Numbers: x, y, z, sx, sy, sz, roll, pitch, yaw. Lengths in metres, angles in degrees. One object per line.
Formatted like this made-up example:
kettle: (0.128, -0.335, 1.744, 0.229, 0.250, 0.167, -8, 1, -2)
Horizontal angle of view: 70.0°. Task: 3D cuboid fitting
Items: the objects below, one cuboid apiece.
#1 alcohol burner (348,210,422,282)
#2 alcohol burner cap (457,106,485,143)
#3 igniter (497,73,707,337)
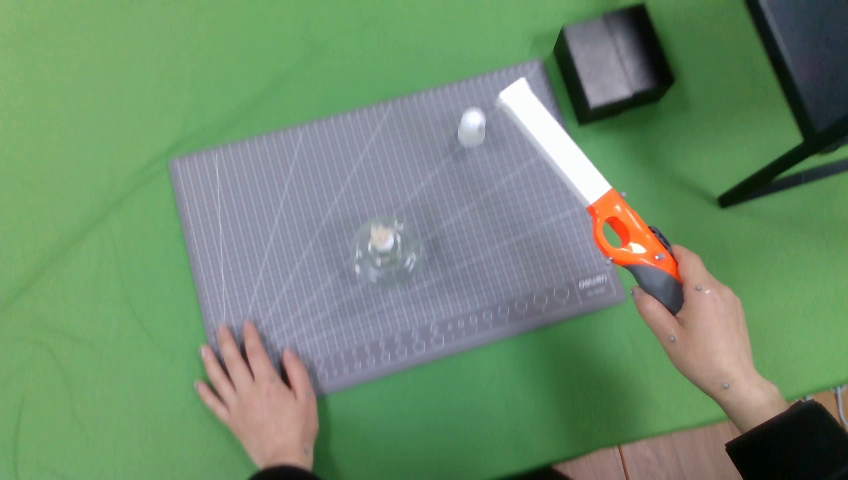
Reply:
alcohol burner: (-0.041, 0.004, 0.619, 0.078, 0.119, 0.077, 0, 79, 0)
alcohol burner cap: (0.054, -0.134, 0.684, 0.034, 0.048, 0.033, 0, 79, 1)
igniter: (0.161, -0.032, 0.541, 0.057, 0.025, 0.276, -37, 88, -18)
